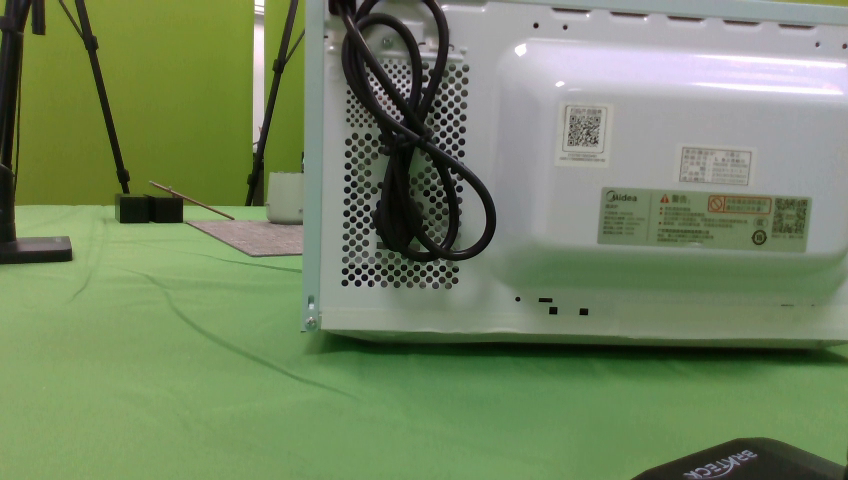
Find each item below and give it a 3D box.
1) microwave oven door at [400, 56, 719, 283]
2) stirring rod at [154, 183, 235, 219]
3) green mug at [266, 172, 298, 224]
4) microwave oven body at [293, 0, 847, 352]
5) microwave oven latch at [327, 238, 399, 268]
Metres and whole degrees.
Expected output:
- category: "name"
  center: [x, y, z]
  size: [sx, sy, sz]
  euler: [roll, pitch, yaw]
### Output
- category: "microwave oven door"
  center: [0.155, -0.077, 0.698]
  size: [0.356, 0.243, 0.039]
  euler: [2, 8, -5]
- category: "stirring rod"
  center: [-0.472, -0.079, 1.252]
  size: [0.177, 0.006, 0.014]
  euler: [27, 4, -35]
- category: "green mug"
  center: [-0.272, -0.089, 1.271]
  size: [0.092, 0.105, 0.126]
  euler: [7, 8, 33]
- category: "microwave oven body"
  center: [0.122, -0.055, 0.550]
  size: [0.442, 0.260, 0.325]
  euler: [3, 7, -5]
- category: "microwave oven latch"
  center: [-0.069, 0.015, 0.694]
  size: [0.079, 0.029, 0.030]
  euler: [3, 7, -3]
